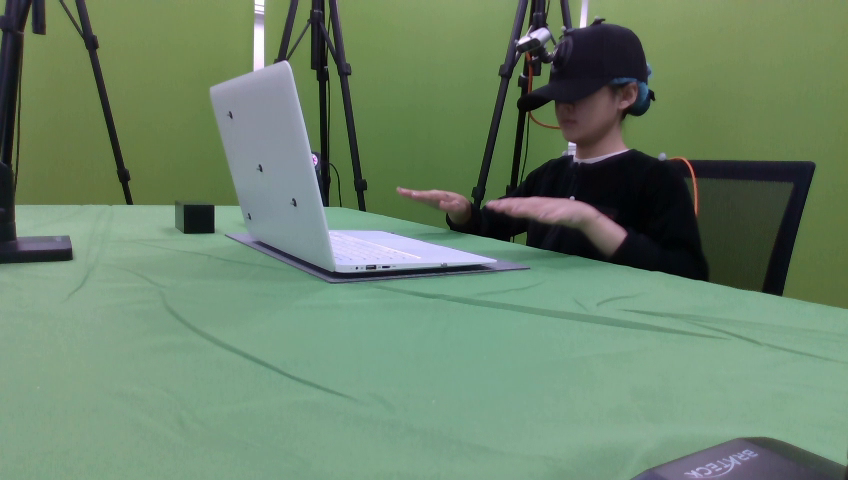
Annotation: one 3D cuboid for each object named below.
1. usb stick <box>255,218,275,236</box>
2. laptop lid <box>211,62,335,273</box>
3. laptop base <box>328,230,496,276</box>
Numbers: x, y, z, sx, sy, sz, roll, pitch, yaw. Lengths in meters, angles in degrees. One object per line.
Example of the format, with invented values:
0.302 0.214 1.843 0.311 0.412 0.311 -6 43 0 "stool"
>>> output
-0.262 -0.021 1.003 0.021 0.027 0.059 0 10 -32 "usb stick"
-0.211 -0.095 0.791 0.013 0.241 0.355 -18 18 -29 "laptop lid"
-0.091 0.016 0.884 0.237 0.023 0.352 2 6 -32 "laptop base"
